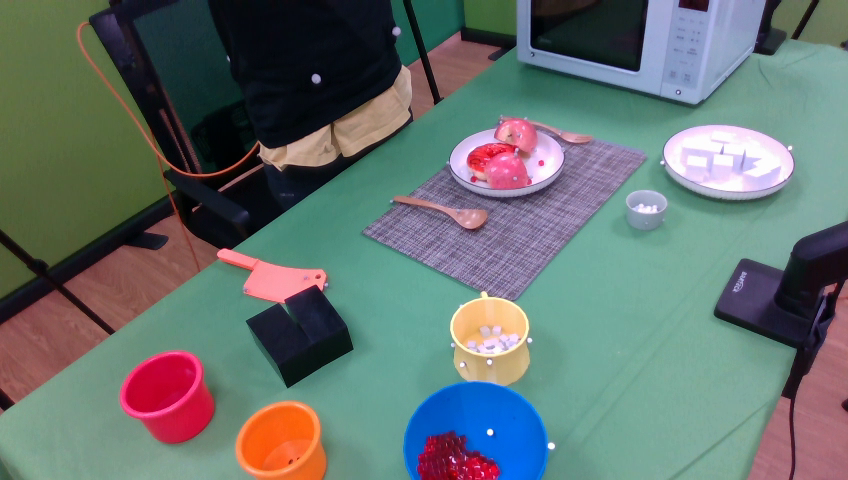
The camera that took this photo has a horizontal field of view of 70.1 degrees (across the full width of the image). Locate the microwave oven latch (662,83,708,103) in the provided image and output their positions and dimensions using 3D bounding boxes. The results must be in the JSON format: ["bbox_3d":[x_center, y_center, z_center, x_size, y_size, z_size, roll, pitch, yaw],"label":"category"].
[{"bbox_3d":[0.517,-0.296,1.204,0.078,0.029,0.030,27,52,35],"label":"microwave oven latch"}]

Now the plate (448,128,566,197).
[{"bbox_3d":[0.150,-0.138,1.097,0.209,0.038,0.208,-4,40,4],"label":"plate"}]

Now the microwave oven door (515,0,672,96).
[{"bbox_3d":[0.343,-0.454,1.259,0.353,0.245,0.039,26,51,33],"label":"microwave oven door"}]

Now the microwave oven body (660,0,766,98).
[{"bbox_3d":[0.472,-0.513,1.317,0.438,0.261,0.327,26,51,34],"label":"microwave oven body"}]

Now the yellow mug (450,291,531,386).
[{"bbox_3d":[0.085,0.120,0.786,0.100,0.064,0.130,-7,39,1],"label":"yellow mug"}]

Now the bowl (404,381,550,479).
[{"bbox_3d":[0.058,0.235,0.645,0.151,0.077,0.150,-4,39,4],"label":"bowl"}]

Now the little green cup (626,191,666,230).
[{"bbox_3d":[0.352,-0.046,0.963,0.061,0.039,0.061,-4,40,4],"label":"little green cup"}]

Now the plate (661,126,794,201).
[{"bbox_3d":[0.513,-0.128,1.035,0.207,0.039,0.206,-4,40,4],"label":"plate"}]

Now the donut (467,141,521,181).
[{"bbox_3d":[0.126,-0.145,1.091,0.099,0.048,0.098,-5,39,5],"label":"donut"}]

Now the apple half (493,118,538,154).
[{"bbox_3d":[0.175,-0.196,1.114,0.080,0.053,0.075,29,12,34],"label":"apple half"}]

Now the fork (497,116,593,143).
[{"bbox_3d":[0.235,-0.221,1.195,0.206,0.019,0.028,23,55,28],"label":"fork"}]

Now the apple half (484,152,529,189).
[{"bbox_3d":[0.144,-0.116,1.032,0.081,0.033,0.081,3,77,-11],"label":"apple half"}]

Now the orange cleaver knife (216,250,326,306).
[{"bbox_3d":[-0.248,0.058,0.945,0.210,0.012,0.077,12,49,20],"label":"orange cleaver knife"}]

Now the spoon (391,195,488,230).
[{"bbox_3d":[0.022,-0.054,1.029,0.192,0.022,0.041,18,73,26],"label":"spoon"}]
